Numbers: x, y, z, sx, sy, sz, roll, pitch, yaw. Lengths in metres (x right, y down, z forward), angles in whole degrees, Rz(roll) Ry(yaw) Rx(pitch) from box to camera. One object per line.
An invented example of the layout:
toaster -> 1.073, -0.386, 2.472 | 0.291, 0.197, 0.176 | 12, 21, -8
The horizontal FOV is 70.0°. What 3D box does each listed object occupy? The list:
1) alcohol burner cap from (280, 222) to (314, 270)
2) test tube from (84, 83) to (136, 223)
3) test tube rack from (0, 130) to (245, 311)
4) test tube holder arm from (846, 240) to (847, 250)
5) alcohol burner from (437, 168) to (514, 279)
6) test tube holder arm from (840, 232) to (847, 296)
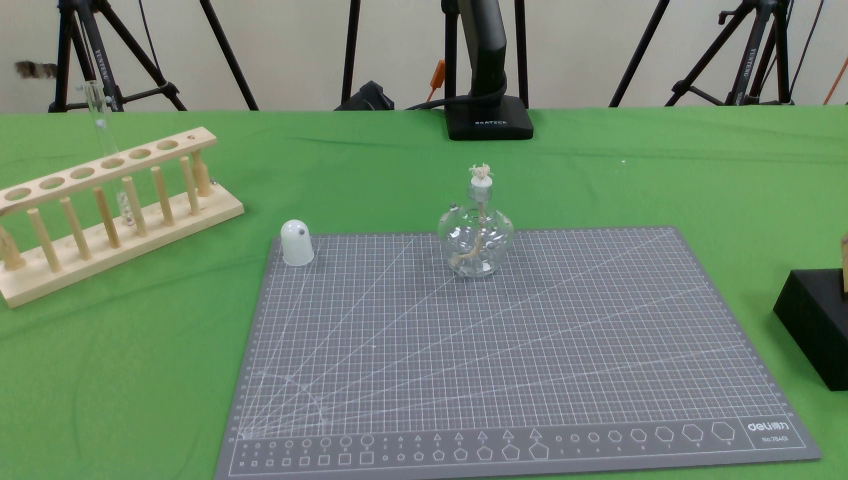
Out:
alcohol burner cap -> -0.131, 0.003, 0.619 | 0.034, 0.048, 0.033 | 1, 38, -1
test tube -> -0.317, -0.084, 0.616 | 0.017, 0.151, 0.017 | 1, 32, 0
test tube rack -> -0.317, -0.029, 0.625 | 0.242, 0.086, 0.066 | -28, 46, -33
test tube holder arm -> 0.376, 0.049, 0.517 | 0.013, 0.015, 0.177 | 16, 41, 16
alcohol burner -> 0.052, -0.020, 0.595 | 0.078, 0.120, 0.077 | 2, 39, -1
test tube holder arm -> 0.389, 0.022, 0.551 | 0.010, 0.015, 0.087 | 18, 41, 18
